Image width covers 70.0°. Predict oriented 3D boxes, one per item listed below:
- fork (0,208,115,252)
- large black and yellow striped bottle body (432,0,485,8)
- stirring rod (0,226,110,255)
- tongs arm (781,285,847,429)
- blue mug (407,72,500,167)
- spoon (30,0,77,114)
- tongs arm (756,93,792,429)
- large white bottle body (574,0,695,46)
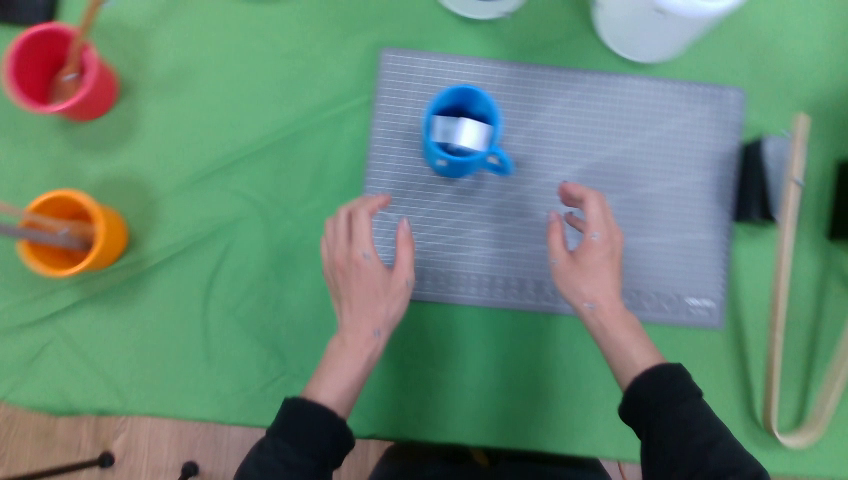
[{"bbox_3d":[-0.434,-0.026,0.637,0.209,0.018,0.028,24,86,-44],"label":"fork"},{"bbox_3d":[0.042,-0.347,0.646,0.131,0.184,0.130,0,88,-2],"label":"large black and yellow striped bottle body"},{"bbox_3d":[-0.428,-0.005,0.640,0.178,0.006,0.014,14,74,-42],"label":"stirring rod"},{"bbox_3d":[0.491,0.038,0.692,0.028,0.027,0.388,12,100,-10],"label":"tongs arm"},{"bbox_3d":[0.036,-0.121,0.676,0.116,0.106,0.082,34,87,-1],"label":"blue mug"},{"bbox_3d":[-0.392,-0.205,0.647,0.041,0.021,0.194,50,131,3],"label":"spoon"},{"bbox_3d":[0.409,0.031,0.687,0.051,0.026,0.385,0,100,-4],"label":"tongs arm"},{"bbox_3d":[0.246,-0.303,0.651,0.131,0.184,0.130,0,88,-2],"label":"large white bottle body"}]
